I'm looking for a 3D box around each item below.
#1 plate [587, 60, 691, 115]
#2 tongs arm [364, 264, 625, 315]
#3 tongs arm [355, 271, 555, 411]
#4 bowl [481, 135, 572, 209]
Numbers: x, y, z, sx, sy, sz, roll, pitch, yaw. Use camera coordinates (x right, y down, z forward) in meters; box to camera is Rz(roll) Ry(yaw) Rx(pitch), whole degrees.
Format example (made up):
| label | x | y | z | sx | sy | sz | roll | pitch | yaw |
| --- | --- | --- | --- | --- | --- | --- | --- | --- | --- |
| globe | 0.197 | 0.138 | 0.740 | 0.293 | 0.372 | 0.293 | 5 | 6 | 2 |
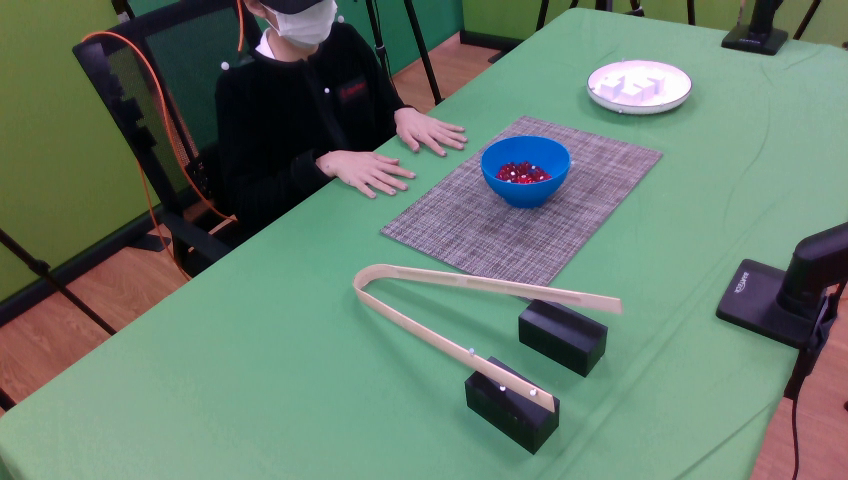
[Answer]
| label | x | y | z | sx | sy | sz | roll | pitch | yaw |
| --- | --- | --- | --- | --- | --- | --- | --- | --- | --- |
| plate | 0.445 | -0.313 | 1.263 | 0.209 | 0.038 | 0.208 | -5 | 40 | 4 |
| tongs arm | 0.079 | 0.066 | 0.828 | 0.385 | 0.028 | 0.028 | 6 | 44 | 32 |
| tongs arm | 0.023 | 0.115 | 0.778 | 0.051 | 0.027 | 0.381 | -39 | 38 | -28 |
| bowl | 0.172 | -0.106 | 1.025 | 0.151 | 0.077 | 0.150 | -4 | 40 | 4 |
